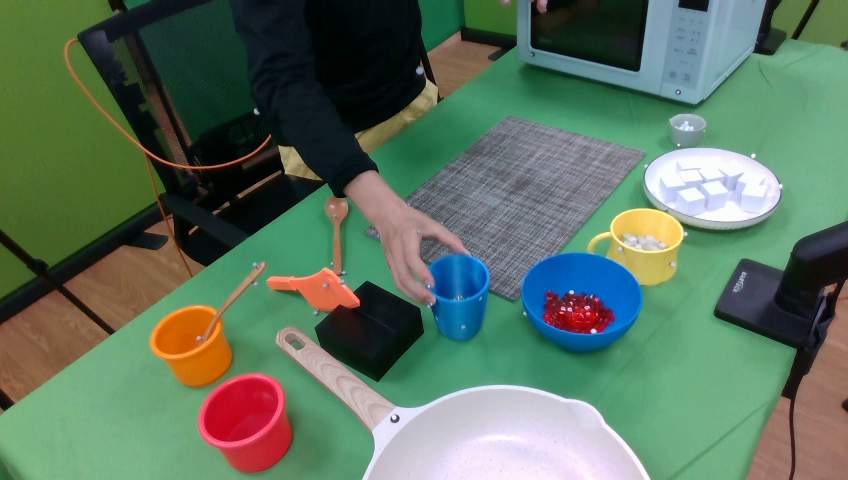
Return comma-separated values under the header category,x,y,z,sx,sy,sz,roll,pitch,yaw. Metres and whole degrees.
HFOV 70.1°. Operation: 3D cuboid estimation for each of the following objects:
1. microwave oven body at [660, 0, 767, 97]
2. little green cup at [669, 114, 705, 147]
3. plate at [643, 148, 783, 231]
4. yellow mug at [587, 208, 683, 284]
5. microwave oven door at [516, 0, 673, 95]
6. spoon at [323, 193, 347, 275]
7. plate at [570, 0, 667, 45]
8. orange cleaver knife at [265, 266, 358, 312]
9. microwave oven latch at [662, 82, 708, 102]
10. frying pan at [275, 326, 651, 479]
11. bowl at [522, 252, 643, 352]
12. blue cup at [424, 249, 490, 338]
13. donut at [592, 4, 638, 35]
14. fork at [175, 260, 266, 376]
category,x,y,z,sx,sy,sz,roll,pitch,yaw
microwave oven body,0.473,-0.516,1.313,0.438,0.261,0.327,26,51,34
little green cup,0.485,-0.203,1.123,0.061,0.039,0.061,-5,40,5
plate,0.464,-0.080,0.986,0.207,0.039,0.206,-4,41,4
yellow mug,0.305,0.009,0.884,0.131,0.064,0.099,-4,41,5
microwave oven door,0.344,-0.458,1.256,0.353,0.245,0.039,26,51,33
spoon,-0.148,-0.014,1.008,0.042,0.022,0.192,1,40,-9
plate,0.436,-0.489,1.368,0.209,0.038,0.208,-5,40,4
orange cleaver knife,-0.164,0.073,0.864,0.210,0.077,0.012,-6,30,50
microwave oven latch,0.518,-0.299,1.203,0.078,0.029,0.030,29,53,36
frying pan,0.004,0.229,0.641,0.484,0.103,0.308,34,54,28
bowl,0.204,0.093,0.792,0.151,0.077,0.150,-4,40,4
blue cup,0.048,0.080,0.810,0.092,0.101,0.092,-4,46,5
donut,0.428,-0.492,1.352,0.099,0.048,0.098,-6,41,6
fork,-0.268,0.103,0.792,0.207,0.019,0.028,-51,39,16
